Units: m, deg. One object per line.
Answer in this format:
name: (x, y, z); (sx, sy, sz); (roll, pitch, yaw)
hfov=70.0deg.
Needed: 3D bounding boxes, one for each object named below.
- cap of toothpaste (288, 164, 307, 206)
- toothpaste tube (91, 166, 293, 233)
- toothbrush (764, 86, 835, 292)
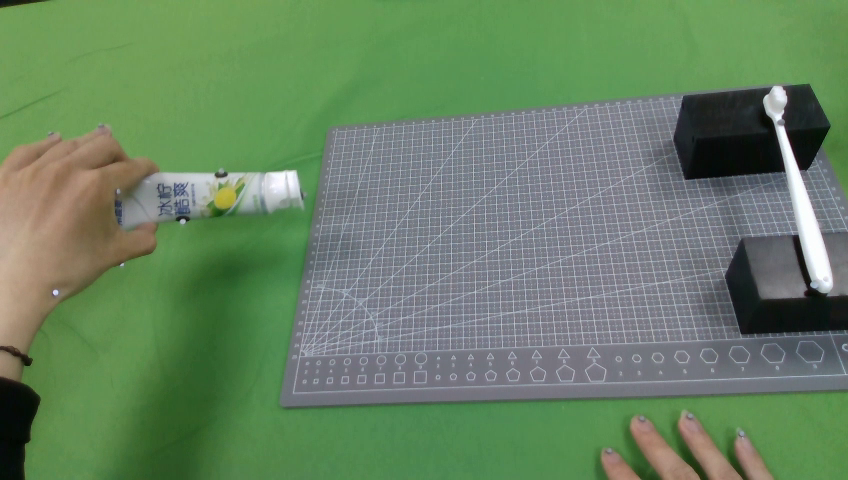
cap of toothpaste: (-0.106, -0.045, 0.507); (0.011, 0.037, 0.037); (-13, 53, -9)
toothpaste tube: (-0.186, -0.040, 0.500); (0.165, 0.034, 0.055); (-5, 85, -6)
toothbrush: (0.268, -0.044, 0.433); (0.014, 0.017, 0.180); (8, 58, 1)
